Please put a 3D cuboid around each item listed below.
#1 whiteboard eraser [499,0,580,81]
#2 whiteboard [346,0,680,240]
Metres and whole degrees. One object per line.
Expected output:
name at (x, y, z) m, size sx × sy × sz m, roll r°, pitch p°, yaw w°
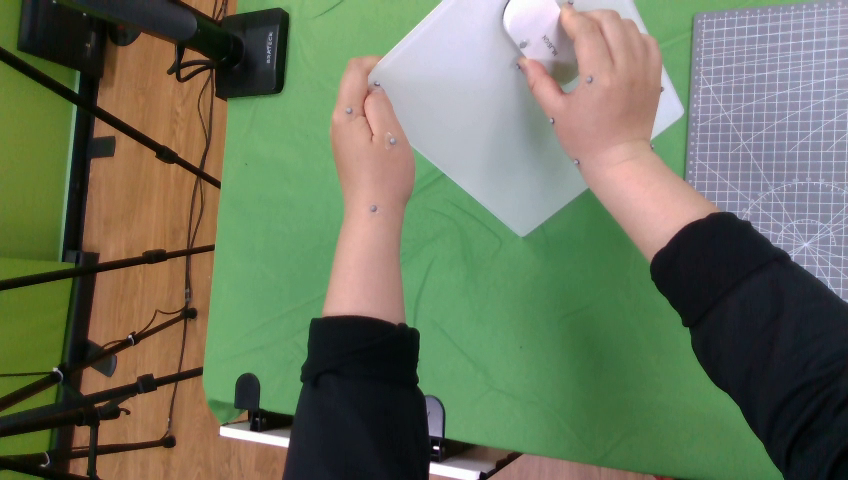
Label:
whiteboard eraser at (0.095, -0.163, 0.490) m, size 0.041 × 0.102 × 0.018 m, roll -44°, pitch 56°, yaw 17°
whiteboard at (0.081, -0.170, 0.592) m, size 0.217 × 0.309 × 0.142 m, roll -38°, pitch 51°, yaw 16°
